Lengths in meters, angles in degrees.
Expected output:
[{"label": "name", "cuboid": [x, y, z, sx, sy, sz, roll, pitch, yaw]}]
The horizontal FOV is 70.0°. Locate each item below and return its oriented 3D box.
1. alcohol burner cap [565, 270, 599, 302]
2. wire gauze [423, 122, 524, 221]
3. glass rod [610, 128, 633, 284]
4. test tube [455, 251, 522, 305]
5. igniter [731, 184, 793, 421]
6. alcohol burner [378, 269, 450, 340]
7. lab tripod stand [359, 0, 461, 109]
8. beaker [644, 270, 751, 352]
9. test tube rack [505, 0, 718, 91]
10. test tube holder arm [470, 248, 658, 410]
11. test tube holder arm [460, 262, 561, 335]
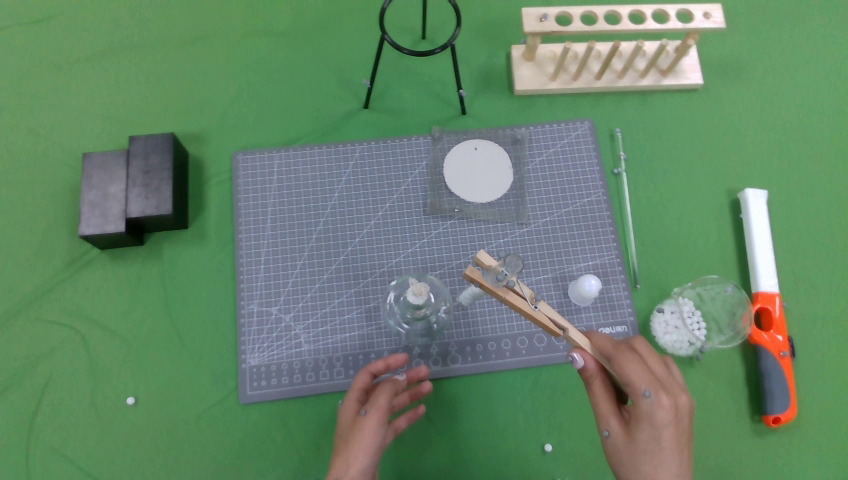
[{"label": "alcohol burner cap", "cuboid": [0.181, 0.050, 0.684, 0.034, 0.048, 0.033, 0, 73, -1]}, {"label": "wire gauze", "cuboid": [0.062, -0.087, 0.739, 0.125, 0.011, 0.121, 5, 74, -2]}, {"label": "glass rod", "cuboid": [0.240, -0.044, 0.735, 0.008, 0.008, 0.198, -1, 76, -3]}, {"label": "test tube", "cuboid": [0.047, 0.034, 0.485, 0.017, 0.150, 0.017, 3, 75, -10]}, {"label": "igniter", "cuboid": [0.388, 0.066, 0.698, 0.057, 0.025, 0.275, 5, 73, -11]}, {"label": "alcohol burner", "cuboid": [-0.011, 0.064, 0.636, 0.078, 0.120, 0.077, 0, 72, 0]}, {"label": "lab tripod stand", "cuboid": [-0.015, -0.220, 0.713, 0.148, 0.132, 0.147, 1, 75, -2]}, {"label": "beaker", "cuboid": [0.285, 0.079, 0.653, 0.084, 0.101, 0.073, 24, 73, 7]}, {"label": "test tube rack", "cuboid": [0.229, -0.241, 0.753, 0.242, 0.085, 0.066, -3, 73, -3]}, {"label": "test tube holder arm", "cuboid": [0.106, 0.068, 0.462, 0.178, 0.015, 0.013, 39, 75, 3]}, {"label": "test tube holder arm", "cuboid": [0.067, 0.045, 0.462, 0.088, 0.015, 0.010, 32, 74, 1]}]
